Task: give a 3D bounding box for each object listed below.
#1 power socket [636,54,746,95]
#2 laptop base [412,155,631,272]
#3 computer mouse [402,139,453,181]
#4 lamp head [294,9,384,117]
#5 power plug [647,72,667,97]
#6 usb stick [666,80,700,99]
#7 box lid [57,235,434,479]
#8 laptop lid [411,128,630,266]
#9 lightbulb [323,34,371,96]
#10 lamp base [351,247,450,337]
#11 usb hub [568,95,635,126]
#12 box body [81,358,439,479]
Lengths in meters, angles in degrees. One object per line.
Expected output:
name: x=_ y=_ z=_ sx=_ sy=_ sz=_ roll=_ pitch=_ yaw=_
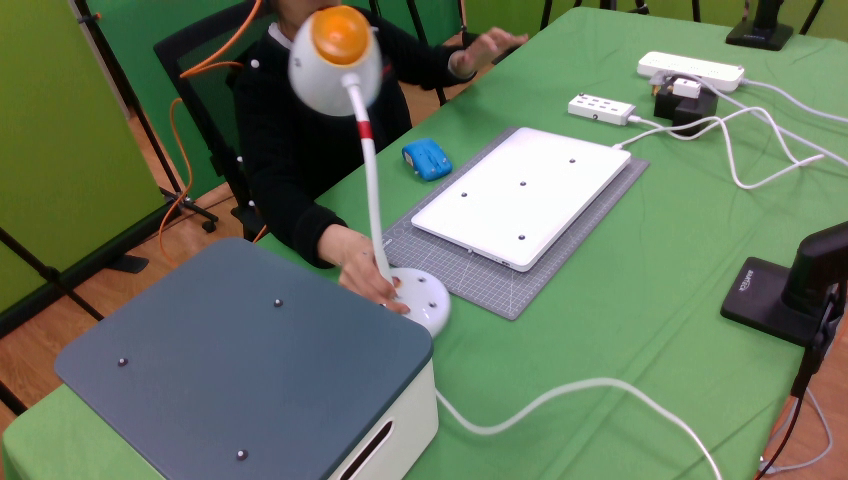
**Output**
power socket: x=0.564 y=-0.357 z=1.293 sx=0.225 sy=0.033 sz=0.072 roll=24 pitch=51 yaw=33
laptop base: x=0.176 y=-0.083 z=1.055 sx=0.233 sy=0.023 sz=0.355 roll=21 pitch=48 yaw=36
computer mouse: x=0.005 y=-0.159 z=1.165 sx=0.063 sy=0.041 sz=0.116 roll=-21 pitch=45 yaw=-17
lamp head: x=-0.097 y=-0.211 z=0.710 sx=0.113 sy=0.112 sz=0.122 roll=-20 pitch=3 yaw=-12
power plug: x=0.493 y=-0.321 z=1.261 sx=0.073 sy=0.052 sz=0.035 roll=1 pitch=20 yaw=-41
usb stick: x=0.492 y=-0.288 z=1.152 sx=0.058 sy=0.027 sz=0.021 roll=20 pitch=50 yaw=34
box lid: x=-0.198 y=0.123 z=0.653 sx=0.368 sy=0.015 sz=0.264 roll=22 pitch=49 yaw=32
laptop lid: x=0.172 y=-0.093 z=1.049 sx=0.239 sy=0.013 sz=0.358 roll=24 pitch=50 yaw=36
lightbulb: x=-0.094 y=-0.216 z=0.734 sx=0.060 sy=0.107 sz=0.059 roll=1 pitch=80 yaw=-7
lamp base: x=-0.048 y=0.047 z=0.816 sx=0.161 sy=0.181 sz=0.177 roll=-18 pitch=43 yaw=-9
usb hub: x=0.360 y=-0.264 z=1.228 sx=0.124 sy=0.025 sz=0.049 roll=24 pitch=49 yaw=34
box body: x=-0.189 y=0.179 z=0.702 sx=0.361 sy=0.161 sz=0.255 roll=22 pitch=49 yaw=32
